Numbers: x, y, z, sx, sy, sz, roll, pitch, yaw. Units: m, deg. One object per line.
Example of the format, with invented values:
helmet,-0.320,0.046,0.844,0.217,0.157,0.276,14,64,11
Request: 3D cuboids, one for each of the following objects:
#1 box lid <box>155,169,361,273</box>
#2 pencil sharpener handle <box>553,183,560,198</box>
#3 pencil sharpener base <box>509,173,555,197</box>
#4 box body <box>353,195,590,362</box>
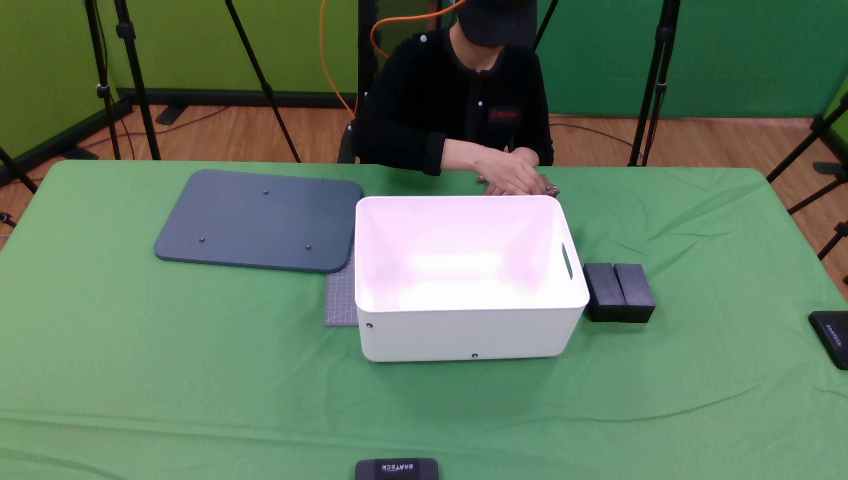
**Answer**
box lid,-0.321,-0.044,1.225,0.371,0.015,0.261,4,46,1
pencil sharpener handle,0.267,-0.089,1.224,0.031,0.068,0.035,-6,44,-10
pencil sharpener base,0.216,-0.075,1.223,0.077,0.107,0.061,-6,46,-10
box body,0.065,0.066,1.040,0.364,0.161,0.252,-1,46,-5
